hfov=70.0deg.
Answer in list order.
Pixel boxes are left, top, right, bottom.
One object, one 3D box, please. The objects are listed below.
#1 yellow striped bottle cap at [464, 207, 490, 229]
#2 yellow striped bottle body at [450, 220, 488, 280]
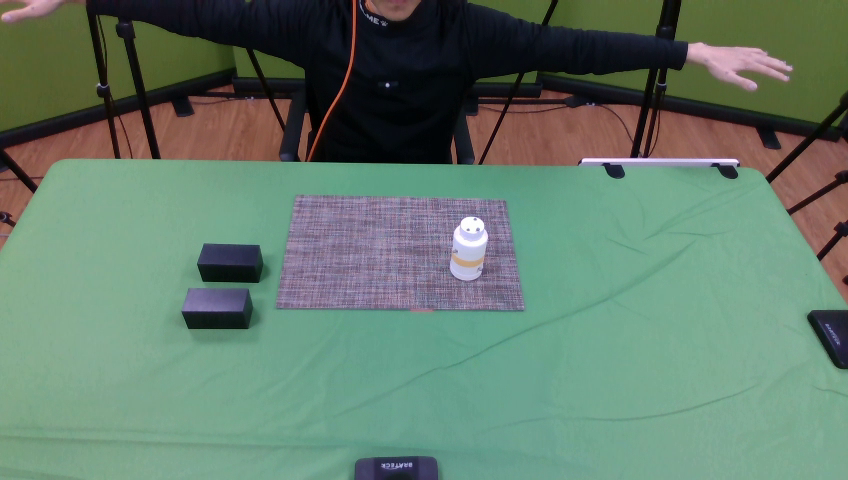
[{"bbox_3d":[0.092,-0.039,1.064,0.044,0.019,0.044,5,39,-4],"label":"yellow striped bottle cap"},{"bbox_3d":[0.083,0.012,1.117,0.063,0.121,0.062,2,46,-2],"label":"yellow striped bottle body"}]
